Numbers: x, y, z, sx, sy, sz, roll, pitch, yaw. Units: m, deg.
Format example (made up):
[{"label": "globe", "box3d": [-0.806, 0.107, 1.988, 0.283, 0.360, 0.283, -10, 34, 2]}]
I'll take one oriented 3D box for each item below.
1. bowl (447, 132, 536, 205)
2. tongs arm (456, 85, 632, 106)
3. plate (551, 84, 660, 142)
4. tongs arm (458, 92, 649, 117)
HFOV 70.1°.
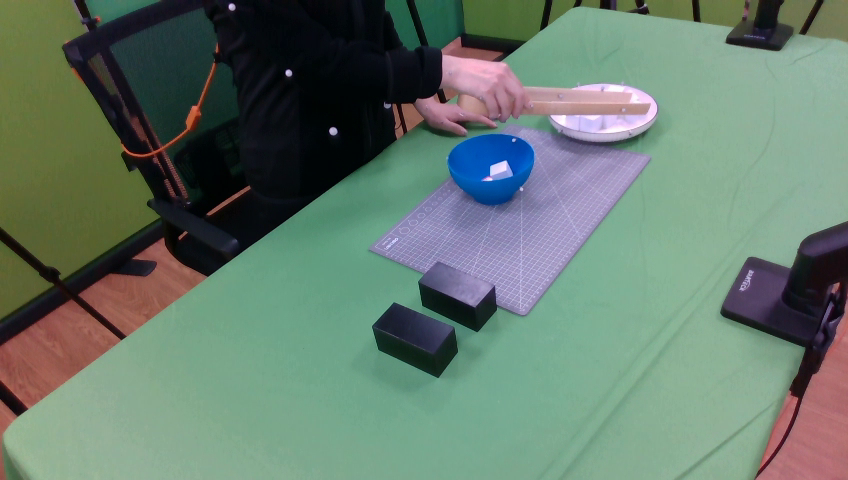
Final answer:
[{"label": "bowl", "box3d": [0.119, -0.115, 1.051, 0.151, 0.077, 0.150, -6, 40, 5]}, {"label": "tongs arm", "box3d": [0.228, -0.252, 1.080, 0.387, 0.026, 0.050, -2, 39, -22]}, {"label": "plate", "box3d": [0.355, -0.246, 1.195, 0.207, 0.039, 0.206, -5, 39, 5]}, {"label": "tongs arm", "box3d": [0.240, -0.233, 1.057, 0.390, 0.028, 0.028, -3, 43, -24]}]
